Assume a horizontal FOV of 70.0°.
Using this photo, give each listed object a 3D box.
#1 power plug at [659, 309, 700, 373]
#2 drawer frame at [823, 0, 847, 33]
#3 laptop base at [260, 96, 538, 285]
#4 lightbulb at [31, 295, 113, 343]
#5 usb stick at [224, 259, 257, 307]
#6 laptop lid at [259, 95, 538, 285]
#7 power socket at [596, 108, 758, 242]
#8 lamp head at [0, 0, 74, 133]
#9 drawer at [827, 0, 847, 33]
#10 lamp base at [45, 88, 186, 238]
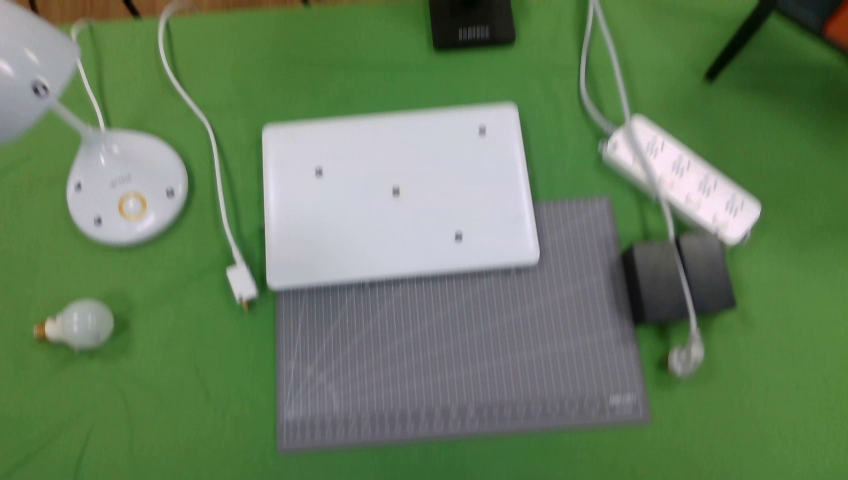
[{"bbox_3d":[0.311,0.126,0.737,0.035,0.052,0.072,26,67,-19],"label":"power plug"},{"bbox_3d":[0.577,-0.269,0.635,0.201,0.083,0.213,40,78,11],"label":"drawer frame"},{"bbox_3d":[-0.039,-0.070,0.809,0.354,0.023,0.234,-6,77,-1],"label":"laptop base"},{"bbox_3d":[-0.439,0.101,0.750,0.107,0.060,0.059,-10,74,14],"label":"lightbulb"},{"bbox_3d":[-0.231,0.056,0.772,0.027,0.021,0.059,-19,85,-6],"label":"usb stick"},{"bbox_3d":[-0.039,-0.071,0.797,0.357,0.013,0.240,-4,76,0],"label":"laptop lid"},{"bbox_3d":[0.334,-0.087,0.801,0.225,0.033,0.072,42,79,12],"label":"power socket"},{"bbox_3d":[-0.363,-0.161,0.472,0.112,0.124,0.111,-21,50,28],"label":"lamp head"},{"bbox_3d":[0.577,-0.265,0.636,0.193,0.073,0.211,40,78,11],"label":"drawer"},{"bbox_3d":[-0.409,-0.109,0.739,0.160,0.181,0.178,-35,74,-9],"label":"lamp base"}]
